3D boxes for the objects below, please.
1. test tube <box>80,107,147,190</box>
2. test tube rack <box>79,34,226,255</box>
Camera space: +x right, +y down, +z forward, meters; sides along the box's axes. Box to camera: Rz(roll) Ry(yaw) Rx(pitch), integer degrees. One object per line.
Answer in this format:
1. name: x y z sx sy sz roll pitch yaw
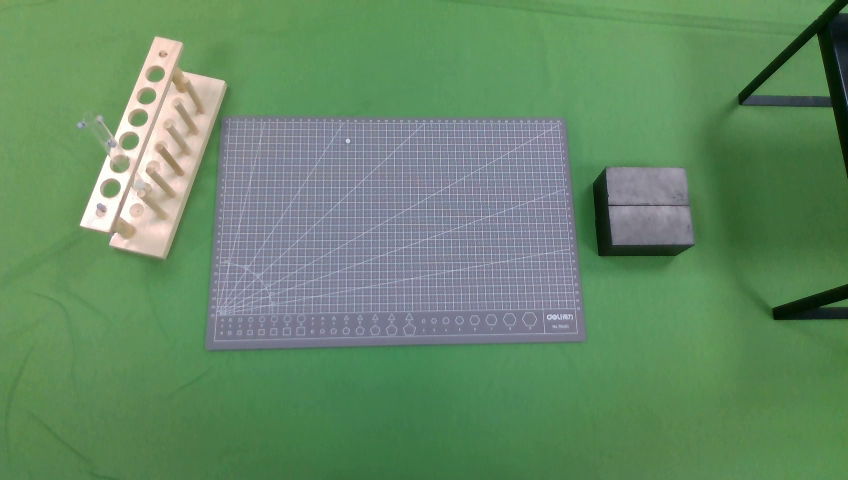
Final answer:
1. test tube: -0.337 -0.095 0.665 0.017 0.151 0.017 2 66 -3
2. test tube rack: -0.315 -0.112 0.723 0.067 0.085 0.241 13 74 0
